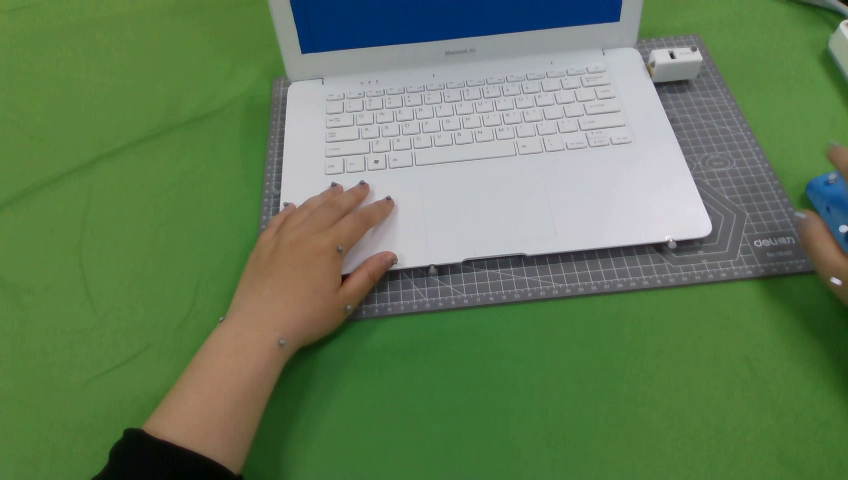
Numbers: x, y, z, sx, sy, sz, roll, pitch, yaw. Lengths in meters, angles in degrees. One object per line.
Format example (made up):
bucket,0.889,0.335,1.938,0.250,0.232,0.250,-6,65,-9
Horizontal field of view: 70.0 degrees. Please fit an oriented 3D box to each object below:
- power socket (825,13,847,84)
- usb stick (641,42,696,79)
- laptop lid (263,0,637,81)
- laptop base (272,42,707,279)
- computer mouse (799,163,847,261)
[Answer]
power socket,0.438,-0.132,0.547,0.072,0.033,0.224,-3,55,3
usb stick,0.228,-0.172,0.584,0.059,0.027,0.021,-7,56,4
laptop lid,0.024,-0.263,0.536,0.357,0.244,0.013,-7,42,1
laptop base,0.044,-0.080,0.549,0.354,0.023,0.233,-6,58,0
computer mouse,0.351,-0.019,0.472,0.063,0.041,0.116,-10,50,0
